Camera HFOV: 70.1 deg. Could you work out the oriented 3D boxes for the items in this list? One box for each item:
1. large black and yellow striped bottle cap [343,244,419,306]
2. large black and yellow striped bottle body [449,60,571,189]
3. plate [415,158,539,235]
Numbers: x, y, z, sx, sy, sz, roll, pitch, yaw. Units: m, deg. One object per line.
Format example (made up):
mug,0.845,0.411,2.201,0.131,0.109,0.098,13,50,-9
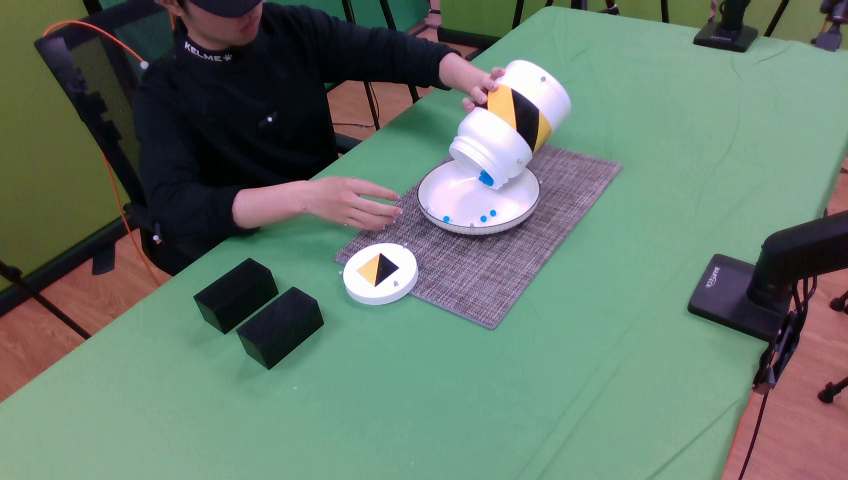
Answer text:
large black and yellow striped bottle cap,-0.066,0.051,0.918,0.115,0.019,0.114,-6,43,6
large black and yellow striped bottle body,0.139,-0.188,1.005,0.184,0.132,0.129,-50,51,-4
plate,0.090,-0.074,1.025,0.207,0.039,0.206,-4,41,4
